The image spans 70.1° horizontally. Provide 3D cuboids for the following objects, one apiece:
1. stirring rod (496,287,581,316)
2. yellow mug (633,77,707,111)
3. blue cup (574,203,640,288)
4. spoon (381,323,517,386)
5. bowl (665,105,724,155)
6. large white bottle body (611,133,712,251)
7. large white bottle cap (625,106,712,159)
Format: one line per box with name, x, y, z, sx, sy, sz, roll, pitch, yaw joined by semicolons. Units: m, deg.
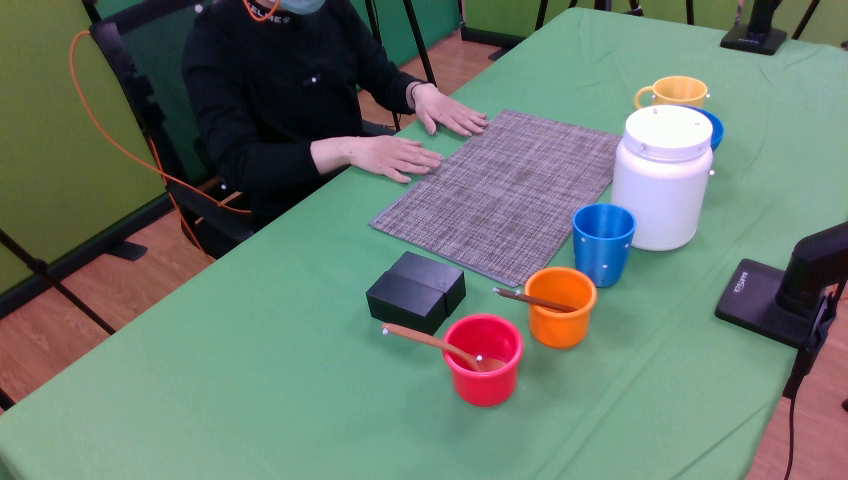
stirring rod;0.150;0.080;0.773;0.178;0.006;0.014;17;21;-42
yellow mug;0.478;-0.270;1.186;0.130;0.064;0.100;10;44;21
blue cup;0.254;0.013;0.864;0.092;0.100;0.092;-4;38;4
spoon;0.033;0.133;0.722;0.195;0.021;0.041;29;33;-26
bowl;0.438;-0.166;1.063;0.151;0.077;0.150;-4;41;4
large white bottle body;0.351;-0.090;0.904;0.130;0.185;0.130;-5;41;4
large white bottle cap;0.342;-0.153;0.848;0.115;0.018;0.114;-4;41;4
